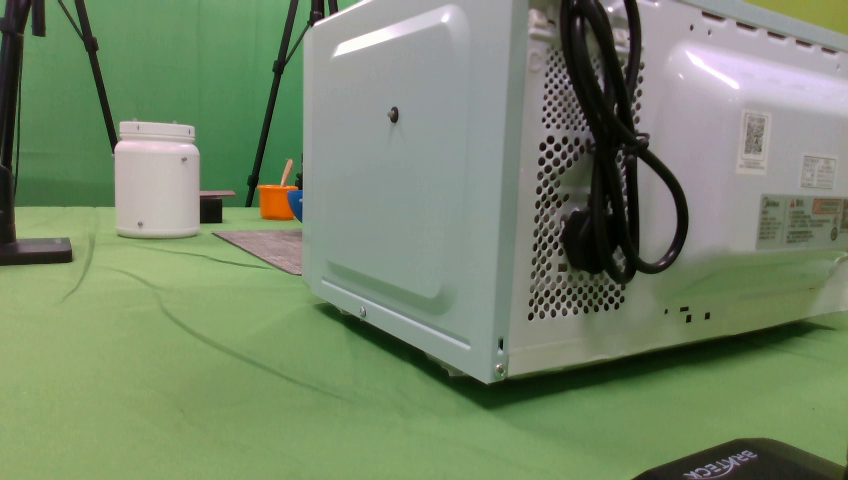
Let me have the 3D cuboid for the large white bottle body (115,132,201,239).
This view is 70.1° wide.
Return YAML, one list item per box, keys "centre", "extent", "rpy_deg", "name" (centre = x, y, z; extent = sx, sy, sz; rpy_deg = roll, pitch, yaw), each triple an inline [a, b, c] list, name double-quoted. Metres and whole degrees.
- centre: [-0.447, -0.100, 1.021]
  extent: [0.131, 0.184, 0.130]
  rpy_deg: [2, 7, 0]
  name: "large white bottle body"

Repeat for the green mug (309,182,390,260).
- centre: [-0.102, -0.029, 0.864]
  extent: [0.126, 0.105, 0.092]
  rpy_deg: [-3, 9, -40]
  name: "green mug"

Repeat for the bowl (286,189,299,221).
- centre: [-0.179, -0.051, 1.115]
  extent: [0.151, 0.077, 0.151]
  rpy_deg: [3, 8, 0]
  name: "bowl"

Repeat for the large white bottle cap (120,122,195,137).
- centre: [-0.444, -0.183, 1.010]
  extent: [0.115, 0.018, 0.115]
  rpy_deg: [2, 7, 0]
  name: "large white bottle cap"

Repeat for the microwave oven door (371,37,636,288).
- centre: [0.109, -0.080, 0.687]
  extent: [0.358, 0.243, 0.039]
  rpy_deg: [-2, 9, -33]
  name: "microwave oven door"

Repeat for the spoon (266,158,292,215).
- centre: [-0.333, -0.127, 1.423]
  extent: [0.041, 0.193, 0.022]
  rpy_deg: [-1, -37, 7]
  name: "spoon"

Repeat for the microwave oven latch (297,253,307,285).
- centre: [-0.082, 0.027, 0.582]
  extent: [0.079, 0.029, 0.030]
  rpy_deg: [-1, 7, -32]
  name: "microwave oven latch"

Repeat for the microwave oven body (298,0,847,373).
- centre: [0.151, -0.055, 0.543]
  extent: [0.444, 0.260, 0.324]
  rpy_deg: [-1, 7, -33]
  name: "microwave oven body"

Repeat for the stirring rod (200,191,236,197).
- centre: [-0.466, -0.098, 1.283]
  extent: [0.014, 0.006, 0.177]
  rpy_deg: [42, 21, 17]
  name: "stirring rod"
